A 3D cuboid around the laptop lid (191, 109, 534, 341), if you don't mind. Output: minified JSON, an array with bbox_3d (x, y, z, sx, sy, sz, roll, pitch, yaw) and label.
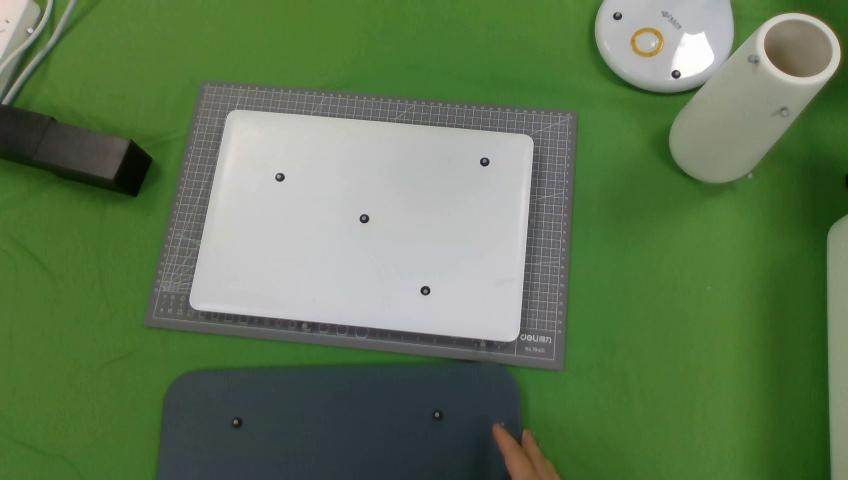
[{"bbox_3d":[-0.064,-0.023,0.658,0.356,0.013,0.240,7,77,4],"label":"laptop lid"}]

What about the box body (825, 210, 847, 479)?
[{"bbox_3d":[0.519,0.132,0.531,0.254,0.161,0.362,7,75,5],"label":"box body"}]

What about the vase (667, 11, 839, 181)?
[{"bbox_3d":[0.312,-0.134,0.594,0.098,0.201,0.097,-1,73,4],"label":"vase"}]

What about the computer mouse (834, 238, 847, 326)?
[{"bbox_3d":[0.461,0.049,0.613,0.063,0.041,0.116,2,66,6],"label":"computer mouse"}]

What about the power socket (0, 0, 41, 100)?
[{"bbox_3d":[-0.540,-0.210,0.733,0.072,0.033,0.225,13,75,5],"label":"power socket"}]

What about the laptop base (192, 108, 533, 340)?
[{"bbox_3d":[-0.063,-0.022,0.670,0.354,0.023,0.234,5,78,3],"label":"laptop base"}]

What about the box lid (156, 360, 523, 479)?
[{"bbox_3d":[-0.088,0.253,0.599,0.371,0.015,0.261,-2,74,2],"label":"box lid"}]

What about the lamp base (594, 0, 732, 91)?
[{"bbox_3d":[0.286,-0.280,0.645,0.160,0.181,0.179,39,77,12],"label":"lamp base"}]
